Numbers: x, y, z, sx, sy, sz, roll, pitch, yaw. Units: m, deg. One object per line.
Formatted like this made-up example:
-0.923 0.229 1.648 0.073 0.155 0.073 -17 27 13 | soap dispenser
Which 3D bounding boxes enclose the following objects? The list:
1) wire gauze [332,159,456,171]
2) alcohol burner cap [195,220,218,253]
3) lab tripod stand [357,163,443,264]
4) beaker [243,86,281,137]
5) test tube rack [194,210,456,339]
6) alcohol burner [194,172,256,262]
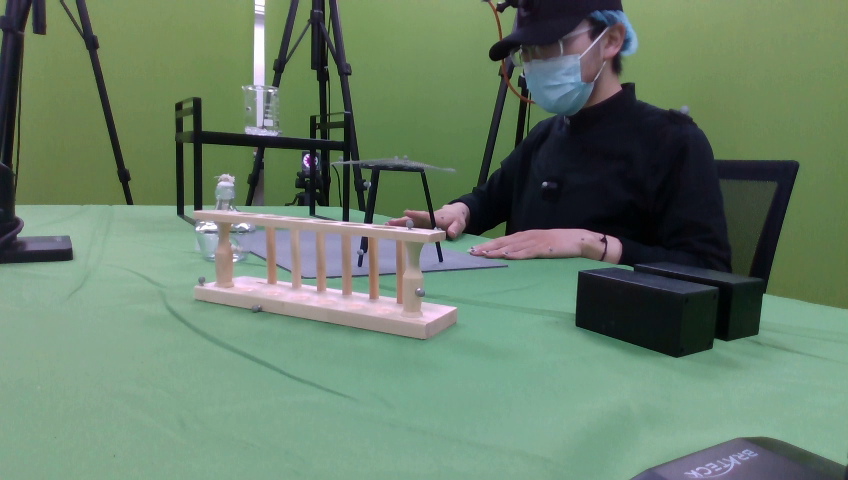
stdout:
-0.042 -0.104 0.819 0.126 0.011 0.121 -3 9 -44 | wire gauze
-0.316 -0.007 0.882 0.034 0.048 0.034 4 8 0 | alcohol burner cap
-0.044 -0.038 0.830 0.148 0.131 0.148 4 6 0 | lab tripod stand
-0.338 -0.265 1.252 0.073 0.100 0.084 8 9 38 | beaker
-0.093 0.023 0.545 0.241 0.085 0.067 6 8 25 | test tube rack
-0.264 -0.030 0.802 0.078 0.119 0.078 0 8 0 | alcohol burner
